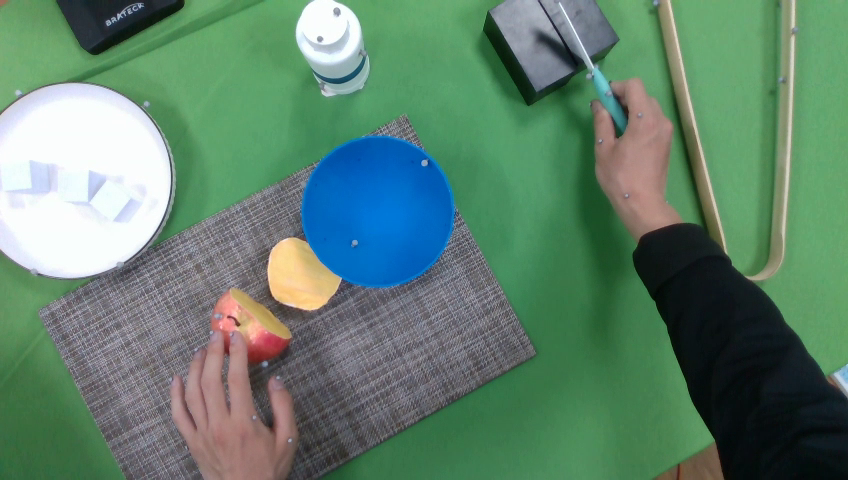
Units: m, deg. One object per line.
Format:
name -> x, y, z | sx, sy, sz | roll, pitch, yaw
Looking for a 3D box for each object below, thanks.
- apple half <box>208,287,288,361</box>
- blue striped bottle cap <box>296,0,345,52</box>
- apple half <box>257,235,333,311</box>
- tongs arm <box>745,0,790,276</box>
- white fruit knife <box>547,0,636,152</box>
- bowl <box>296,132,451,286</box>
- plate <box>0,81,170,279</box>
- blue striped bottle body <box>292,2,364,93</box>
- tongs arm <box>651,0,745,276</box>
apple half -> -0.184, 0.093, 0.615 | 0.080, 0.075, 0.053 | 40, 88, 6
blue striped bottle cap -> -0.096, -0.199, 0.559 | 0.044, 0.020, 0.044 | 0, 86, -3
apple half -> -0.137, 0.034, 0.637 | 0.081, 0.032, 0.081 | -1, 97, -9
tongs arm -> 0.371, -0.152, 0.662 | 0.051, 0.026, 0.384 | 1, 89, -1
white fruit knife -> 0.168, -0.172, 0.620 | 0.016, 0.027, 0.209 | -34, 114, 8
bowl -> -0.049, -0.028, 0.622 | 0.151, 0.077, 0.151 | 0, 88, -1
plate -> -0.370, -0.061, 0.641 | 0.208, 0.039, 0.207 | 0, 88, -2
blue striped bottle body -> -0.096, -0.196, 0.610 | 0.063, 0.121, 0.063 | 0, 87, -1
tongs arm -> 0.289, -0.146, 0.663 | 0.028, 0.028, 0.387 | -12, 89, -4
